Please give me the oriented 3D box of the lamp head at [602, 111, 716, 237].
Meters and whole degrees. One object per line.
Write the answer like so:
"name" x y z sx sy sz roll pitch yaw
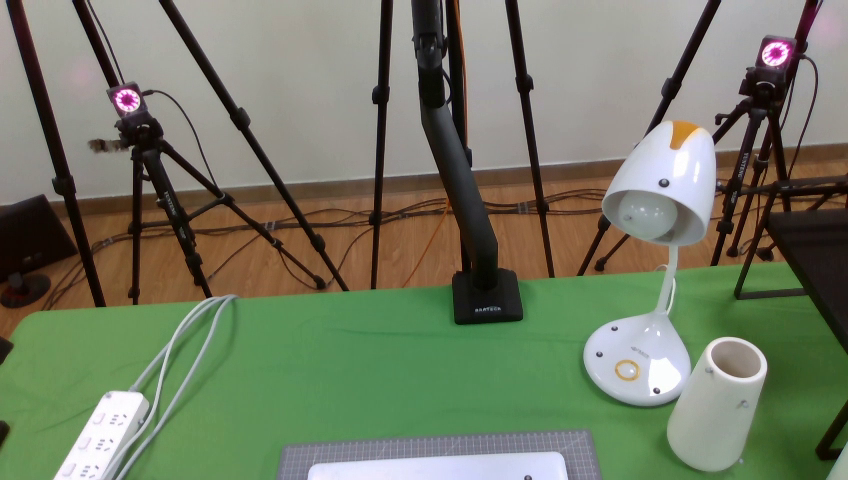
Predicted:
"lamp head" 0.270 -0.078 0.673 0.111 0.113 0.122 18 65 25

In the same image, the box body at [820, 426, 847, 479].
"box body" 0.620 0.359 0.615 0.254 0.162 0.360 -3 42 3

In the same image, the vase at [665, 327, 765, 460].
"vase" 0.377 0.200 0.789 0.098 0.202 0.097 -4 41 4

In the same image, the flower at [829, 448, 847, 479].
"flower" 0.547 0.398 0.642 0.038 0.044 0.357 -39 43 30

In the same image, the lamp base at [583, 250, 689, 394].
"lamp base" 0.333 0.109 0.908 0.159 0.182 0.179 21 46 26

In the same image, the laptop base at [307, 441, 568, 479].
"laptop base" 0.018 0.375 0.770 0.354 0.023 0.233 -4 45 2

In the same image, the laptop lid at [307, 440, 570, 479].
"laptop lid" 0.017 0.368 0.760 0.356 0.013 0.239 -3 45 3

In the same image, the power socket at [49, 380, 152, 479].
"power socket" -0.479 0.303 0.891 0.072 0.033 0.224 2 42 8
